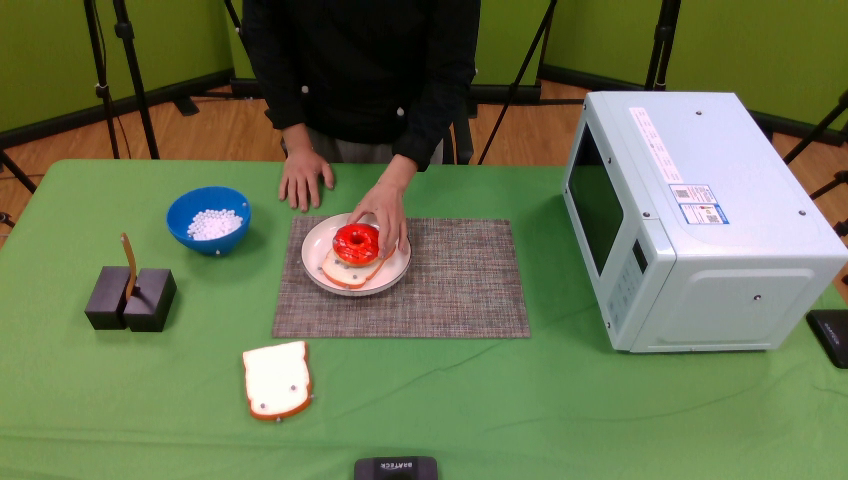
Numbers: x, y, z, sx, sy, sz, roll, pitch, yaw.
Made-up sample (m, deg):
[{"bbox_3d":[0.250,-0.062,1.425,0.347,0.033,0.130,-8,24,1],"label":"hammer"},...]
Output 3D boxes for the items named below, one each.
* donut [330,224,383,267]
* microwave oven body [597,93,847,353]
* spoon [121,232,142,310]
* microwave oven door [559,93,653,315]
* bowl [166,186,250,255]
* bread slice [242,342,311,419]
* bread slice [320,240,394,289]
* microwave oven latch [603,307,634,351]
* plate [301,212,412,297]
[{"bbox_3d":[-0.125,0.011,1.126,0.099,0.048,0.098,2,46,-2],"label":"donut"},{"bbox_3d":[0.475,-0.041,1.109,0.326,0.261,0.438,-1,45,-4],"label":"microwave oven body"},{"bbox_3d":[-0.479,0.051,0.994,0.022,0.194,0.041,13,46,-11],"label":"spoon"},{"bbox_3d":[0.327,-0.074,1.123,0.039,0.245,0.353,-1,46,-5],"label":"microwave oven door"},{"bbox_3d":[-0.403,-0.024,1.154,0.151,0.077,0.150,2,46,-2],"label":"bowl"},{"bbox_3d":[-0.234,0.223,0.970,0.105,0.019,0.130,-10,46,-12],"label":"bread slice"},{"bbox_3d":[-0.129,0.036,1.141,0.107,0.018,0.134,19,47,14],"label":"bread slice"},{"bbox_3d":[0.332,0.153,1.044,0.030,0.029,0.078,0,45,-4],"label":"microwave oven latch"},{"bbox_3d":[-0.126,0.031,1.145,0.208,0.039,0.206,2,46,-2],"label":"plate"}]
